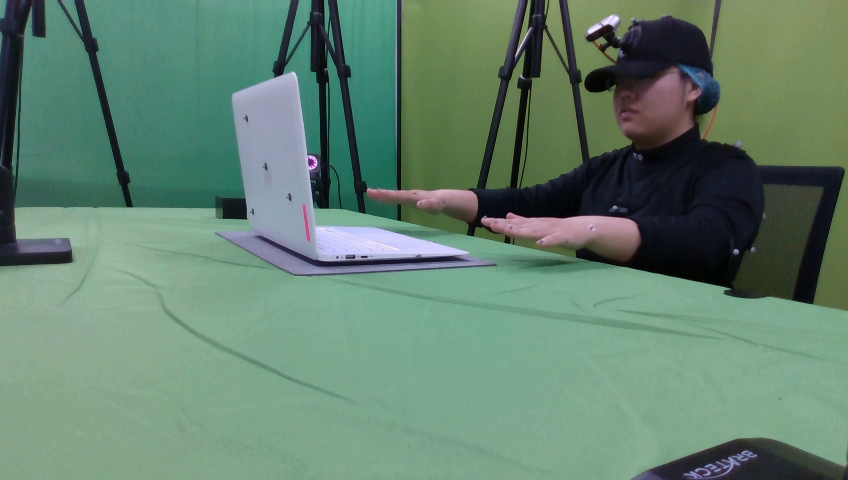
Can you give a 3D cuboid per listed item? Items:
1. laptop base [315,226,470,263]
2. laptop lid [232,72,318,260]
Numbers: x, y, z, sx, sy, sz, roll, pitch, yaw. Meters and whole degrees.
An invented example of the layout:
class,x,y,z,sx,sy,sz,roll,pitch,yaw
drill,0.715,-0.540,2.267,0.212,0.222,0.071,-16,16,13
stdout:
class,x,y,z,sx,sy,sz,roll,pitch,yaw
laptop base,-0.117,0.005,0.970,0.237,0.023,0.352,2,6,-30
laptop lid,-0.229,-0.109,0.888,0.013,0.241,0.355,-10,14,-28
